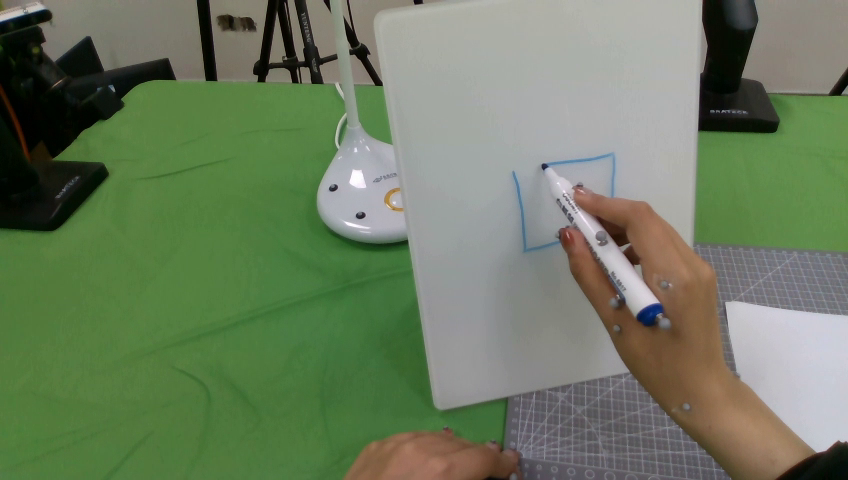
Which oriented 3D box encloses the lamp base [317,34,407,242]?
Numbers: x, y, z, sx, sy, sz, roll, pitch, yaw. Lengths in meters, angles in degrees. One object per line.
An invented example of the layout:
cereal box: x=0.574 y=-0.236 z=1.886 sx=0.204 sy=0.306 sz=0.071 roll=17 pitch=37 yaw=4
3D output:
lamp base: x=-0.055 y=-0.116 z=0.646 sx=0.161 sy=0.182 sz=0.177 roll=-30 pitch=45 yaw=-25

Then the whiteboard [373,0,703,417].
whiteboard: x=0.086 y=-0.042 z=0.498 sx=0.217 sy=0.307 sz=0.142 roll=-10 pitch=22 yaw=-4

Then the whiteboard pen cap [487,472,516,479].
whiteboard pen cap: x=0.060 y=0.174 z=0.420 sx=0.033 sy=0.018 sz=0.018 roll=7 pitch=42 yaw=29

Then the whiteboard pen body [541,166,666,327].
whiteboard pen body: x=0.105 y=-0.003 z=0.376 sx=0.017 sy=0.017 sz=0.139 roll=-15 pitch=48 yaw=-11
